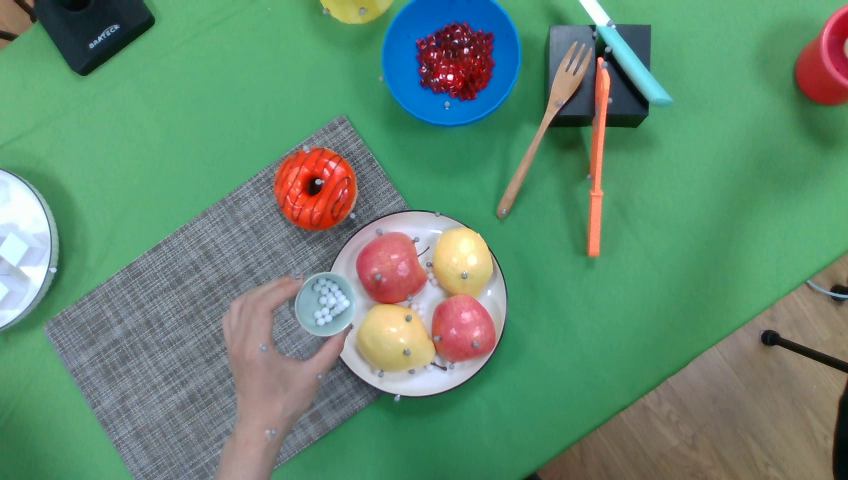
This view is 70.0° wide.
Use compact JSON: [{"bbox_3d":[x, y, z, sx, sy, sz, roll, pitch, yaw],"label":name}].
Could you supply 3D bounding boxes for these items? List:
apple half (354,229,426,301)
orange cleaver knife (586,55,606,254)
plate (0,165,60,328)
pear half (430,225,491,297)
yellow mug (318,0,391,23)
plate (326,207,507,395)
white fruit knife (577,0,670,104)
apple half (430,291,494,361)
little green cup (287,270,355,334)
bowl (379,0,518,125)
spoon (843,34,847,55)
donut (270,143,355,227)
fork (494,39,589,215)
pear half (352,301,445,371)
[{"bbox_3d":[-0.040,0.029,0.673,0.074,0.053,0.080,-18,88,4],"label":"apple half"},{"bbox_3d":[0.187,-0.090,0.661,0.012,0.077,0.212,1,112,10],"label":"orange cleaver knife"},{"bbox_3d":[-0.537,0.009,0.737,0.207,0.039,0.207,0,86,5],"label":"plate"},{"bbox_3d":[0.036,0.028,0.669,0.070,0.031,0.088,-5,97,27],"label":"pear half"},{"bbox_3d":[-0.101,-0.321,0.708,0.130,0.064,0.100,23,88,7],"label":"yellow mug"},{"bbox_3d":[-0.011,0.067,0.685,0.209,0.038,0.208,0,86,4],"label":"plate"},{"bbox_3d":[0.195,-0.229,0.653,0.027,0.016,0.206,-30,81,-27],"label":"white fruit knife"},{"bbox_3d":[0.033,0.096,0.662,0.081,0.033,0.081,3,98,25],"label":"apple half"},{"bbox_3d":[-0.102,0.058,0.584,0.062,0.038,0.061,-1,92,-28],"label":"little green cup"},{"bbox_3d":[0.029,-0.196,0.683,0.151,0.077,0.151,0,87,5],"label":"bowl"},{"bbox_3d":[0.472,-0.156,0.555,0.041,0.191,0.022,-45,127,14],"label":"spoon"},{"bbox_3d":[-0.129,-0.063,0.700,0.099,0.048,0.099,0,88,7],"label":"donut"},{"bbox_3d":[0.124,-0.118,0.665,0.028,0.018,0.208,23,109,-2],"label":"fork"},{"bbox_3d":[-0.024,0.115,0.669,0.110,0.056,0.076,28,93,1],"label":"pear half"}]
